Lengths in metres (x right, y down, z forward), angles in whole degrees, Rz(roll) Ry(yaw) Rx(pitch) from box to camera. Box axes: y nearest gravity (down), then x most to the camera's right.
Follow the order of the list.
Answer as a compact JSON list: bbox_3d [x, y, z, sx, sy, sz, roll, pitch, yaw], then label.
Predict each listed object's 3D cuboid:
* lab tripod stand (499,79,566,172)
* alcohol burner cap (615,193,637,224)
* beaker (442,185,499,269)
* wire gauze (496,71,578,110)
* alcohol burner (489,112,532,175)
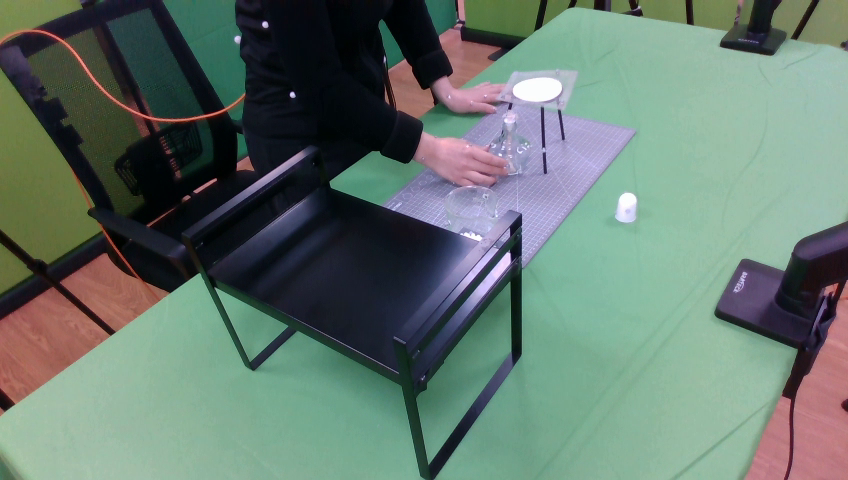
[{"bbox_3d":[0.204,-0.216,1.107,0.148,0.132,0.147,-6,41,5],"label":"lab tripod stand"},{"bbox_3d":[0.327,-0.053,0.974,0.034,0.048,0.033,-4,38,3],"label":"alcohol burner cap"},{"bbox_3d":[0.071,-0.015,0.844,0.074,0.101,0.083,-35,48,-28],"label":"beaker"},{"bbox_3d":[0.199,-0.268,1.065,0.124,0.011,0.121,10,44,22],"label":"wire gauze"},{"bbox_3d":[0.155,-0.178,1.086,0.078,0.119,0.077,-3,41,3],"label":"alcohol burner"}]
